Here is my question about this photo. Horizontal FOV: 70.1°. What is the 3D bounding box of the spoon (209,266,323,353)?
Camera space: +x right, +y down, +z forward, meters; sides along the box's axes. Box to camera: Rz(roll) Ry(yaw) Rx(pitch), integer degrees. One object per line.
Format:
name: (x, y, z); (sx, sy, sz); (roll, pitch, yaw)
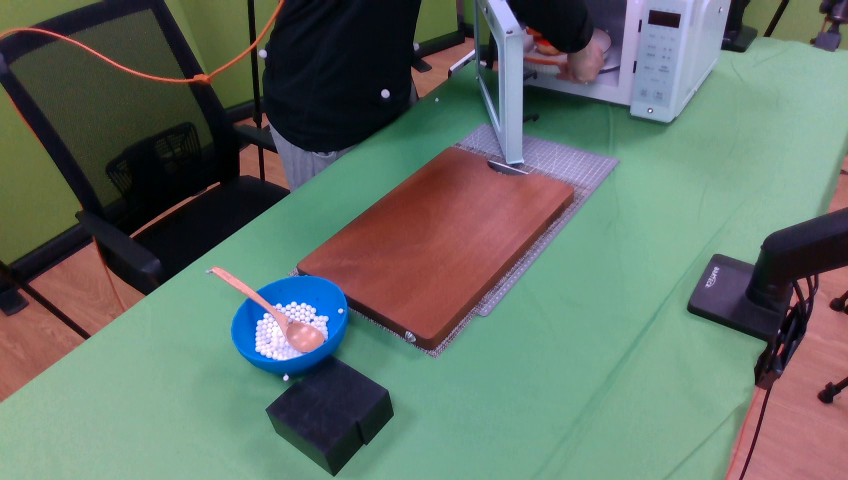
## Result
spoon: (-0.213, 0.087, 0.806); (0.193, 0.021, 0.042); (36, 56, 11)

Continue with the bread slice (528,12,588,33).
bread slice: (0.270, -0.435, 1.205); (0.106, 0.018, 0.134); (3, 29, 17)

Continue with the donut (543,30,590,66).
donut: (0.289, -0.391, 1.225); (0.099, 0.048, 0.098); (-23, 33, 17)

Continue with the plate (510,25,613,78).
plate: (0.282, -0.386, 1.248); (0.207, 0.039, 0.206); (-5, 41, 5)

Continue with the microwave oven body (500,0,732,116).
microwave oven body: (0.377, -0.463, 1.267); (0.438, 0.261, 0.327); (21, 49, 30)

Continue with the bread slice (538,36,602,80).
bread slice: (0.312, -0.384, 1.269); (0.104, 0.019, 0.131); (16, 59, 40)

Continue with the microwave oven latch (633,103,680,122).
microwave oven latch: (0.443, -0.249, 1.158); (0.078, 0.029, 0.030); (21, 49, 30)

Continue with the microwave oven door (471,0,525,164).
microwave oven door: (0.136, -0.342, 1.153); (0.039, 0.245, 0.353); (-9, 40, -1)

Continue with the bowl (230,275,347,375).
bowl: (-0.171, 0.125, 0.802); (0.151, 0.077, 0.150); (-4, 40, 4)
